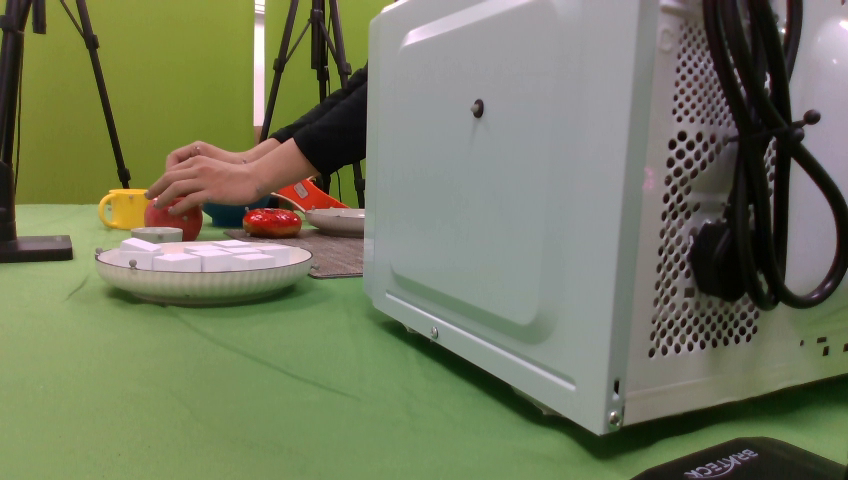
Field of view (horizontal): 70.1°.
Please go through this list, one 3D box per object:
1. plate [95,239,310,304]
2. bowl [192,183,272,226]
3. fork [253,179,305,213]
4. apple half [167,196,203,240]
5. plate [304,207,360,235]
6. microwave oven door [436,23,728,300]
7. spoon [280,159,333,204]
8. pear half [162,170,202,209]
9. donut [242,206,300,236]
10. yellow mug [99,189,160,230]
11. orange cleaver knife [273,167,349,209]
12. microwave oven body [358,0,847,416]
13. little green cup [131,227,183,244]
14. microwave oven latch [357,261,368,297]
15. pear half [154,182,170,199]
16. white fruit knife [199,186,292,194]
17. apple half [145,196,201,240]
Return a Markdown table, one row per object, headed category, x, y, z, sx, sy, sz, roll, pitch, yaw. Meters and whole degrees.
| category | x | y | z | sx | sy | sz | roll | pitch | yaw |
| --- | --- | --- | --- | --- | --- | --- | --- | --- | --- |
| plate | -0.224 | 0.031 | 0.629 | 0.208 | 0.039 | 0.207 | 2 | 8 | 0 |
| bowl | -0.381 | -0.070 | 1.202 | 0.151 | 0.077 | 0.151 | 3 | 7 | 0 |
| fork | -0.294 | -0.084 | 1.294 | 0.206 | 0.018 | 0.028 | 29 | 13 | 26 |
| apple half | -0.366 | -0.033 | 0.928 | 0.081 | 0.081 | 0.033 | 5 | 11 | 18 |
| plate | -0.123 | -0.037 | 1.149 | 0.209 | 0.038 | 0.209 | 2 | 7 | 0 |
| microwave oven door | 0.180 | -0.073 | 0.621 | 0.358 | 0.243 | 0.039 | -2 | 9 | -29 |
| spoon | -0.316 | -0.159 | 1.639 | 0.194 | 0.022 | 0.041 | -49 | 33 | -20 |
| pear half | -0.398 | -0.061 | 1.002 | 0.056 | 0.110 | 0.076 | 1 | 12 | 3 |
| donut | -0.263 | -0.031 | 1.040 | 0.099 | 0.048 | 0.099 | 6 | 11 | -1 |
| yellow mug | -0.519 | -0.055 | 1.081 | 0.099 | 0.064 | 0.131 | 7 | 10 | 26 |
| orange cleaver knife | -0.237 | -0.087 | 1.357 | 0.211 | 0.077 | 0.012 | 32 | 5 | -2 |
| microwave oven body | 0.211 | -0.047 | 0.474 | 0.444 | 0.260 | 0.324 | -1 | 7 | -28 |
| little green cup | -0.342 | 0.006 | 0.779 | 0.061 | 0.038 | 0.061 | 2 | 8 | 0 |
| microwave oven latch | -0.019 | 0.033 | 0.530 | 0.079 | 0.029 | 0.030 | -1 | 7 | -26 |
| pear half | -0.435 | -0.053 | 1.006 | 0.031 | 0.088 | 0.070 | 3 | 13 | 0 |
| white fruit knife | -0.399 | -0.111 | 1.368 | 0.208 | 0.016 | 0.027 | -4 | -19 | -29 |
| apple half | -0.377 | -0.027 | 0.892 | 0.080 | 0.074 | 0.053 | 9 | 12 | 17 |
